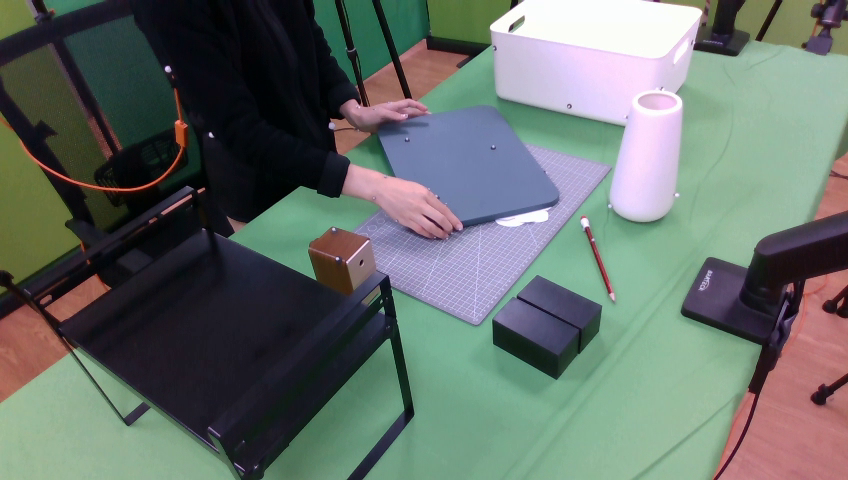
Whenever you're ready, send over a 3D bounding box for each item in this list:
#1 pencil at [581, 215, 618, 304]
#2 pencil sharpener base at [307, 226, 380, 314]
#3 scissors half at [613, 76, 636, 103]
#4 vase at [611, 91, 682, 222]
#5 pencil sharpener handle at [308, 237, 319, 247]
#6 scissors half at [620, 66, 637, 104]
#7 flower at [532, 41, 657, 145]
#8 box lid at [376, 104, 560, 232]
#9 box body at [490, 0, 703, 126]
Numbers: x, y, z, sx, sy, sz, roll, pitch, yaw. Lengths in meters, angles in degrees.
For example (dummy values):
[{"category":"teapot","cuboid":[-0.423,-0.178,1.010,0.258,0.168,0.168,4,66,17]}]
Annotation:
[{"category":"pencil","cuboid":[0.266,0.026,0.917,0.012,0.012,0.193,-6,42,1]},{"category":"pencil sharpener base","cuboid":[-0.116,0.043,0.875,0.076,0.107,0.061,18,47,28]},{"category":"scissors half","cuboid":[0.425,-0.330,1.305,0.013,0.040,0.174,38,28,-14]},{"category":"vase","cuboid":[0.348,-0.125,0.935,0.098,0.201,0.097,-3,40,3]},{"category":"pencil sharpener handle","cuboid":[-0.158,0.017,0.892,0.030,0.068,0.036,18,61,28]},{"category":"scissors half","cuboid":[0.434,-0.340,1.298,0.013,0.040,0.175,31,36,-12]},{"category":"flower","cuboid":[0.370,-0.320,1.323,0.359,0.044,0.038,47,37,21]},{"category":"box lid","cuboid":[0.069,-0.148,1.133,0.264,0.015,0.368,-12,41,-10]},{"category":"box body","cuboid":[0.352,-0.384,1.268,0.361,0.161,0.255,21,48,29]}]
